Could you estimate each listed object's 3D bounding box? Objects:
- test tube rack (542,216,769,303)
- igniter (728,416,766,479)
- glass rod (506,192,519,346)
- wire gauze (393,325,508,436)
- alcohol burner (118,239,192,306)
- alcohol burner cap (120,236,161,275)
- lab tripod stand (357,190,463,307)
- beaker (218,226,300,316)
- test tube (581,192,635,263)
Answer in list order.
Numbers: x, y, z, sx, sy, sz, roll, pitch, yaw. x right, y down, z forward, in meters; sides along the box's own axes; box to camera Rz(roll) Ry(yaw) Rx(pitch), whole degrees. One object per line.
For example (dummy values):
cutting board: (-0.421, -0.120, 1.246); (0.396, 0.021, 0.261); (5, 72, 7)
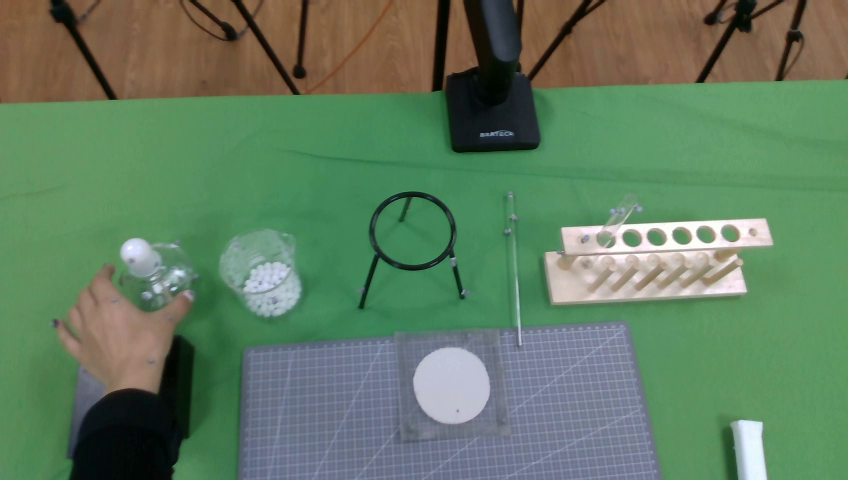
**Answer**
test tube rack: (0.272, 0.024, 0.718); (0.243, 0.086, 0.066); (-3, 67, -5)
igniter: (0.349, 0.326, 0.630); (0.057, 0.025, 0.274); (10, 67, -11)
glass rod: (0.109, 0.031, 0.743); (0.008, 0.008, 0.198); (2, 68, -4)
wire gauze: (0.029, 0.156, 0.683); (0.125, 0.011, 0.120); (-2, 66, -4)
alcohol burner: (-0.296, 0.029, 0.655); (0.078, 0.120, 0.077); (2, 65, -4)
alcohol burner cap: (-0.292, 0.014, 0.622); (0.034, 0.048, 0.033); (3, 68, -8)
lab tripod stand: (-0.019, 0.010, 0.675); (0.148, 0.132, 0.147); (1, 66, -2)
beaker: (-0.175, 0.037, 0.669); (0.084, 0.101, 0.073); (-41, 76, -19)
test tube: (0.201, -0.010, 0.673); (0.017, 0.151, 0.017); (1, 64, -2)
